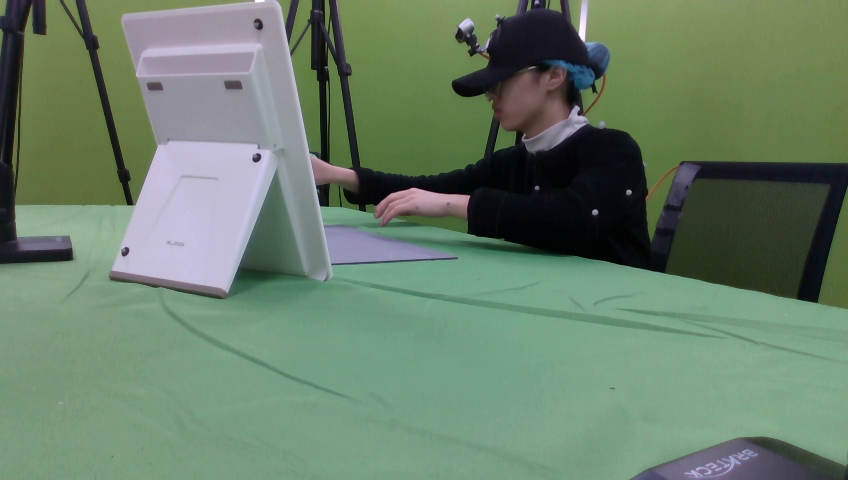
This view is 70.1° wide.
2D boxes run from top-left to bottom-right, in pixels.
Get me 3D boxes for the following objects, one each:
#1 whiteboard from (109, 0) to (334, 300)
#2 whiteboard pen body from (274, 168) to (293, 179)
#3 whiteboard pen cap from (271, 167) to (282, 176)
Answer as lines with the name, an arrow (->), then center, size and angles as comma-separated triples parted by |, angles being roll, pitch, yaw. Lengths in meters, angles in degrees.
whiteboard -> -0.247, -0.072, 0.624 | 0.216, 0.305, 0.144 | 6, 28, 26
whiteboard pen body -> -0.283, -0.134, 1.212 | 0.017, 0.017, 0.140 | 2, 3, -2
whiteboard pen cap -> -0.281, -0.131, 1.153 | 0.018, 0.018, 0.033 | 2, 3, -1
